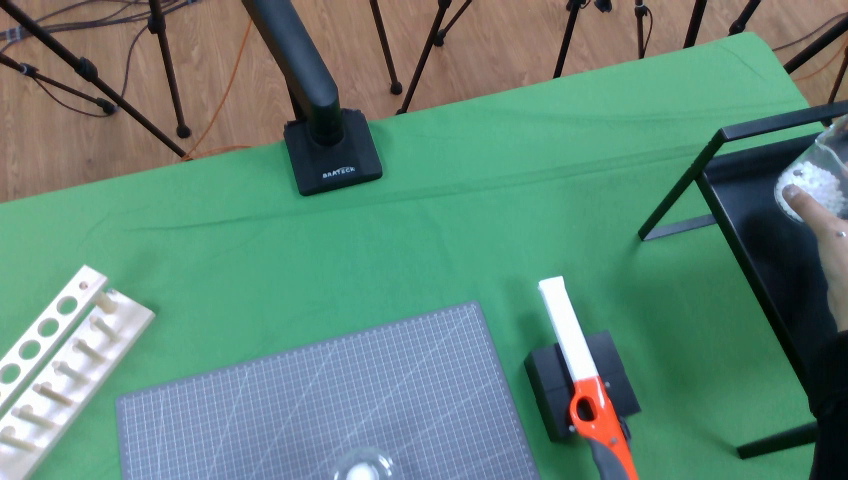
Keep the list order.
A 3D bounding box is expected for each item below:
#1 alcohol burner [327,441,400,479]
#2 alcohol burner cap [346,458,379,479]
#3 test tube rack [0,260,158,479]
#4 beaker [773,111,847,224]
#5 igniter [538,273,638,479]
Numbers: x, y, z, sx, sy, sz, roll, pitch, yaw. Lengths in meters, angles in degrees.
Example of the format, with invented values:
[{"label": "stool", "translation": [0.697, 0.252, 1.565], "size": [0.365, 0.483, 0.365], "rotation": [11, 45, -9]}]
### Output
[{"label": "alcohol burner", "translation": [-0.064, 0.249, 0.636], "size": [0.078, 0.120, 0.077], "rotation": [2, 62, -3]}, {"label": "alcohol burner cap", "translation": [-0.062, 0.234, 0.603], "size": [0.034, 0.048, 0.033], "rotation": [1, 68, -2]}, {"label": "test tube rack", "translation": [-0.418, 0.149, 0.679], "size": [0.066, 0.086, 0.241], "rotation": [27, 67, 10]}, {"label": "beaker", "translation": [0.385, -0.064, 0.570], "size": [0.084, 0.101, 0.073], "rotation": [11, 67, 3]}, {"label": "igniter", "translation": [0.185, 0.166, 0.687], "size": [0.057, 0.025, 0.274], "rotation": [-11, 64, -7]}]
